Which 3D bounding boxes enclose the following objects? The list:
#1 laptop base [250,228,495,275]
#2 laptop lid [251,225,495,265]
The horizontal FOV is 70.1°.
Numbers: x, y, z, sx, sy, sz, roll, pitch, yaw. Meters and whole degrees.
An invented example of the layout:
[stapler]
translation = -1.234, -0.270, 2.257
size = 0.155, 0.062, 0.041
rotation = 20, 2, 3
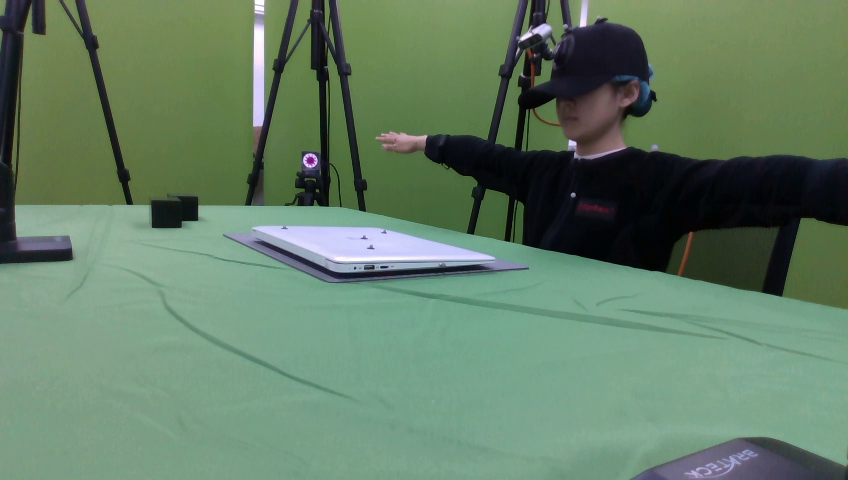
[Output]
[laptop base]
translation = -0.093, 0.015, 0.884
size = 0.237, 0.023, 0.352
rotation = 3, 6, -32
[laptop lid]
translation = -0.090, 0.004, 0.883
size = 0.243, 0.013, 0.355
rotation = 1, 7, -31
